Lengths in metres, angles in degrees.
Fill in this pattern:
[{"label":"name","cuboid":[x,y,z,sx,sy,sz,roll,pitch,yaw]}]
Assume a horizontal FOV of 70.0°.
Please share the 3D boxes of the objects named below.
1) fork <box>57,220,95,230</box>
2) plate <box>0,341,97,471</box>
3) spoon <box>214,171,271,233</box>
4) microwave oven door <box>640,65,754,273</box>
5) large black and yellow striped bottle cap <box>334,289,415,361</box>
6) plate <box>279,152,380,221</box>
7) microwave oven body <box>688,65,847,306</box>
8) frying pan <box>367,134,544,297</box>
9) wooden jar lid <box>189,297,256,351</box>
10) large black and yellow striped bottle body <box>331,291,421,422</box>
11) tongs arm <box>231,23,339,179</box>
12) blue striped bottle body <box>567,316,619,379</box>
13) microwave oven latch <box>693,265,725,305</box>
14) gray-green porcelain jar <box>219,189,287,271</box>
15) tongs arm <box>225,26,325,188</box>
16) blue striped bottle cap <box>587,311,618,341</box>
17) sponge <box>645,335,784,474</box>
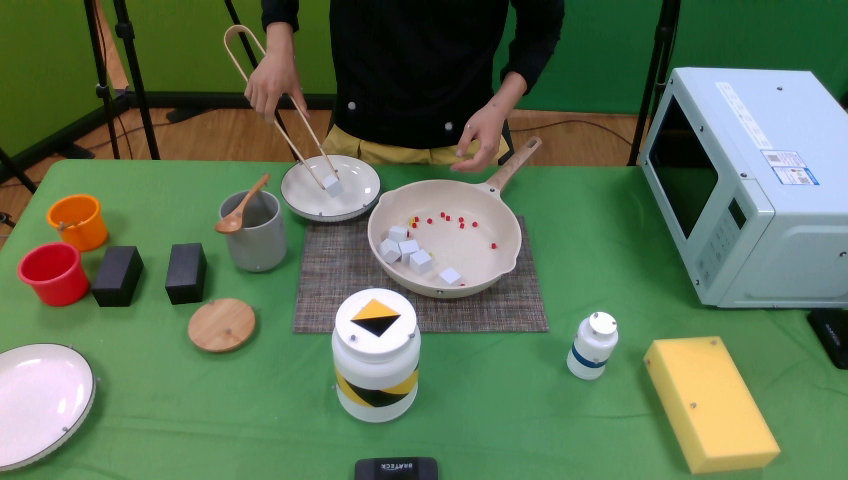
[{"label":"fork","cuboid":[-0.624,-0.027,1.086,0.028,0.207,0.018,-2,92,-17]},{"label":"plate","cuboid":[-0.599,0.247,0.904,0.209,0.038,0.208,2,47,-2]},{"label":"spoon","cuboid":[-0.312,-0.070,1.070,0.041,0.022,0.193,9,43,10]},{"label":"microwave oven door","cuboid":[0.522,-0.147,1.193,0.039,0.245,0.353,0,47,-3]},{"label":"large black and yellow striped bottle cap","cuboid":[-0.069,0.117,0.850,0.115,0.019,0.114,2,45,-2]},{"label":"plate","cuboid":[-0.196,-0.108,1.269,0.208,0.039,0.206,2,45,-2]},{"label":"microwave oven body","cuboid":[0.669,-0.111,1.176,0.326,0.261,0.439,0,46,-3]},{"label":"frying pan","cuboid":[0.104,-0.069,1.205,0.305,0.103,0.487,32,61,23]},{"label":"wooden jar lid","cuboid":[-0.342,0.145,1.033,0.108,0.021,0.107,2,45,-2]},{"label":"large black and yellow striped bottle body","cuboid":[-0.071,0.175,0.911,0.131,0.185,0.130,2,47,-2]},{"label":"tongs arm","cuboid":[-0.282,-0.279,1.223,0.051,0.026,0.384,-29,83,-2]},{"label":"blue striped bottle body","cuboid":[0.276,0.168,0.984,0.063,0.121,0.062,2,46,-2]},{"label":"microwave oven latch","cuboid":[0.523,0.081,1.116,0.030,0.029,0.078,2,46,-1]},{"label":"gray-green porcelain jar","cuboid":[-0.310,-0.014,1.113,0.106,0.127,0.105,2,46,-2]},{"label":"tongs arm","cuboid":[-0.302,-0.266,1.222,0.028,0.028,0.387,-33,84,1]},{"label":"blue striped bottle cap","cuboid":[0.279,0.134,0.947,0.044,0.021,0.044,2,45,-2]},{"label":"sponge","cuboid":[0.449,0.253,0.956,0.118,0.061,0.205,-4,46,-7]}]
